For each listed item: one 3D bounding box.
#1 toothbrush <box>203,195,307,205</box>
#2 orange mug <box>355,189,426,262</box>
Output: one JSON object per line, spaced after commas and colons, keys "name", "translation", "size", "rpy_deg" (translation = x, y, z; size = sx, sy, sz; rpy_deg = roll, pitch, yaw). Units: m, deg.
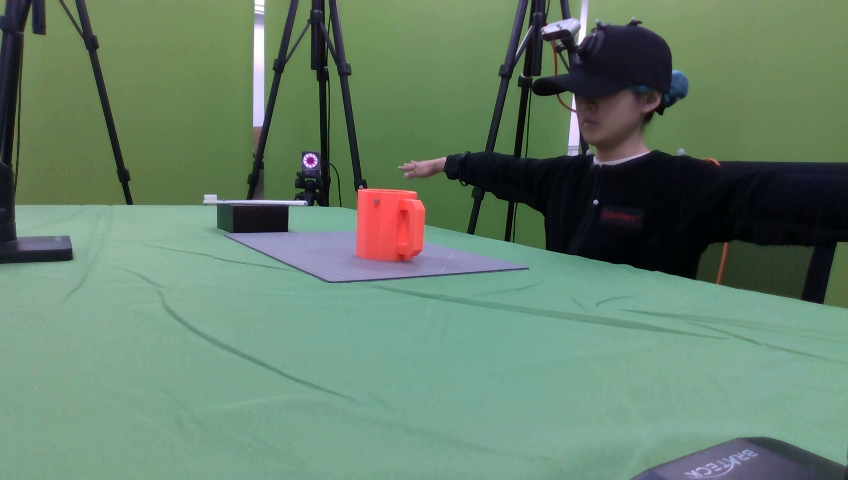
{"name": "toothbrush", "translation": [-0.306, -0.072, 1.105], "size": [0.183, 0.016, 0.014], "rpy_deg": [0, 4, -22]}
{"name": "orange mug", "translation": [-0.043, -0.022, 0.854], "size": [0.084, 0.100, 0.125], "rpy_deg": [-3, 5, -40]}
